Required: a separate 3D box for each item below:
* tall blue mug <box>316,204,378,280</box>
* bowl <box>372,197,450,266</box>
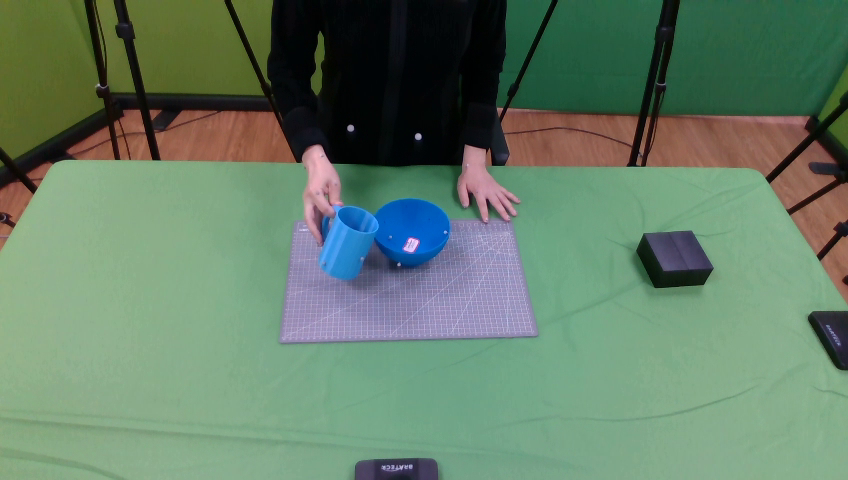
[{"bbox_3d":[-0.148,-0.004,1.053,0.107,0.108,0.077,31,32,6],"label":"tall blue mug"},{"bbox_3d":[-0.028,-0.003,1.156,0.151,0.077,0.150,2,46,-2],"label":"bowl"}]
